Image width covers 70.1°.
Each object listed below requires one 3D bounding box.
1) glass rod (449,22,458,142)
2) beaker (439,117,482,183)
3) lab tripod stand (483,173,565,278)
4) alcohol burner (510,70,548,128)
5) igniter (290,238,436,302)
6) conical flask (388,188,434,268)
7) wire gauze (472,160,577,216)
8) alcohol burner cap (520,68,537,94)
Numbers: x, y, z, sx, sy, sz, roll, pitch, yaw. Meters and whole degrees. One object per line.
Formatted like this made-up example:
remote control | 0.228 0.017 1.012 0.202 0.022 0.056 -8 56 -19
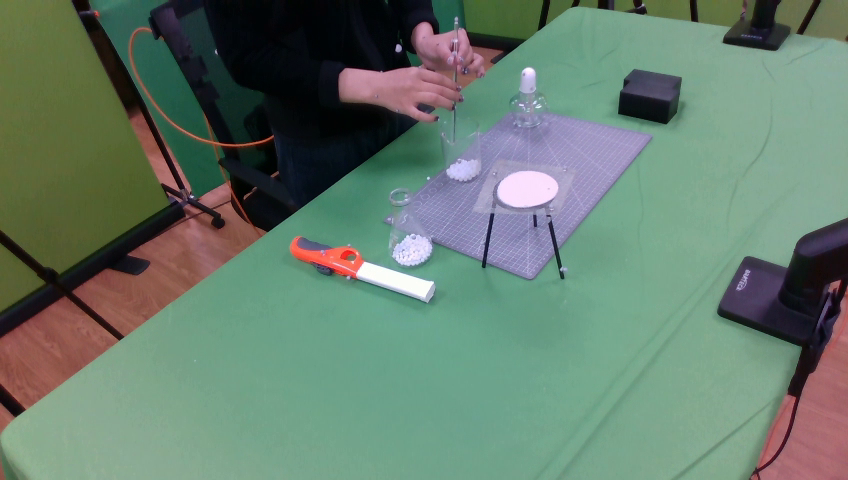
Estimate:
glass rod | 0.049 -0.264 1.026 0.008 0.200 0.008 2 22 0
beaker | 0.068 -0.160 1.097 0.073 0.101 0.084 7 43 19
lab tripod stand | 0.151 -0.025 0.896 0.148 0.132 0.147 -7 40 6
alcohol burner | 0.209 -0.287 1.208 0.078 0.119 0.077 -5 42 5
igniter | -0.106 0.044 0.949 0.274 0.025 0.057 16 57 27
conical flask | -0.028 -0.022 0.937 0.075 0.122 0.075 -6 40 5
wire gauze | 0.143 -0.073 0.850 0.121 0.011 0.125 8 43 22
alcohol burner cap | 0.205 -0.313 1.183 0.034 0.048 0.033 -3 50 4
